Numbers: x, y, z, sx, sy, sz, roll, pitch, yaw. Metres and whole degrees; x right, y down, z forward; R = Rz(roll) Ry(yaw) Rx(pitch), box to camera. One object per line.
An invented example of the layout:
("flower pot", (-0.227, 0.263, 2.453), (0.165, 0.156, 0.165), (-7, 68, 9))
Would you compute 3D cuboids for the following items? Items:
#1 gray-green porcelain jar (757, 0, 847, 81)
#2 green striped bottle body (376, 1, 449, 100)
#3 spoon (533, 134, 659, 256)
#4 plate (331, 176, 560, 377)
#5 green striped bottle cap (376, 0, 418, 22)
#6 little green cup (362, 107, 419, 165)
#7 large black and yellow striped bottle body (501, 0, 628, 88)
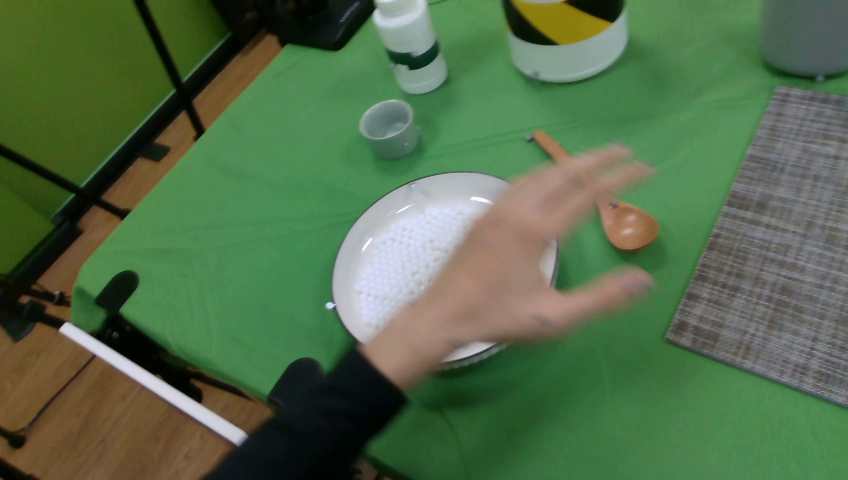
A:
("gray-green porcelain jar", (0.372, -0.222, 0.560), (0.105, 0.128, 0.105), (-9, 52, 12))
("green striped bottle body", (-0.015, -0.227, 0.703), (0.063, 0.120, 0.062), (-10, 51, 13))
("spoon", (0.154, -0.051, 0.574), (0.041, 0.022, 0.191), (-40, 50, 11))
("plate", (0.019, 0.031, 0.549), (0.209, 0.038, 0.207), (-9, 52, 12))
("green striped bottle cap", (-0.029, -0.258, 0.663), (0.044, 0.020, 0.044), (-8, 55, 12))
("little green cup", (-0.036, -0.115, 0.678), (0.061, 0.039, 0.061), (-9, 51, 12))
("large black and yellow striped bottle body", (0.145, -0.270, 0.637), (0.130, 0.186, 0.129), (-9, 52, 13))
